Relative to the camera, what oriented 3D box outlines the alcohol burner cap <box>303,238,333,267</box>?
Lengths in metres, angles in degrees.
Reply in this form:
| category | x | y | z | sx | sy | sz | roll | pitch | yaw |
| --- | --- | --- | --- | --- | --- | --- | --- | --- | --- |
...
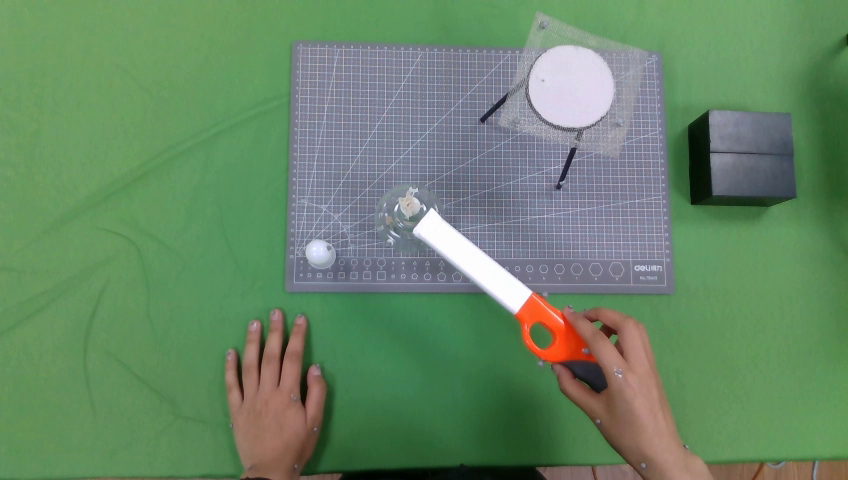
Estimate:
| category | x | y | z | sx | sy | sz | roll | pitch | yaw |
| --- | --- | --- | --- | --- | --- | --- | --- | --- | --- |
| alcohol burner cap | -0.119 | 0.012 | 0.669 | 0.034 | 0.048 | 0.033 | 1 | 82 | -4 |

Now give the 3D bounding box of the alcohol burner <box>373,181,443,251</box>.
| category | x | y | z | sx | sy | sz | roll | pitch | yaw |
| --- | --- | --- | --- | --- | --- | --- | --- | --- | --- |
| alcohol burner | -0.017 | -0.028 | 0.646 | 0.078 | 0.119 | 0.077 | 0 | 83 | -3 |

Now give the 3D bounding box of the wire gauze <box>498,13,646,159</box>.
| category | x | y | z | sx | sy | sz | roll | pitch | yaw |
| --- | --- | --- | --- | --- | --- | --- | --- | --- | --- |
| wire gauze | 0.148 | -0.152 | 0.596 | 0.121 | 0.011 | 0.124 | 19 | 80 | -1 |

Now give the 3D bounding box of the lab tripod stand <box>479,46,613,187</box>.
| category | x | y | z | sx | sy | sz | roll | pitch | yaw |
| --- | --- | --- | --- | --- | --- | --- | --- | --- | --- |
| lab tripod stand | 0.142 | -0.144 | 0.662 | 0.148 | 0.132 | 0.148 | 1 | 80 | -3 |

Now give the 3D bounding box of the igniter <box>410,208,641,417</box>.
| category | x | y | z | sx | sy | sz | roll | pitch | yaw |
| --- | --- | --- | --- | --- | --- | --- | --- | --- | --- |
| igniter | 0.100 | 0.069 | 0.583 | 0.276 | 0.025 | 0.057 | 40 | 79 | 1 |
